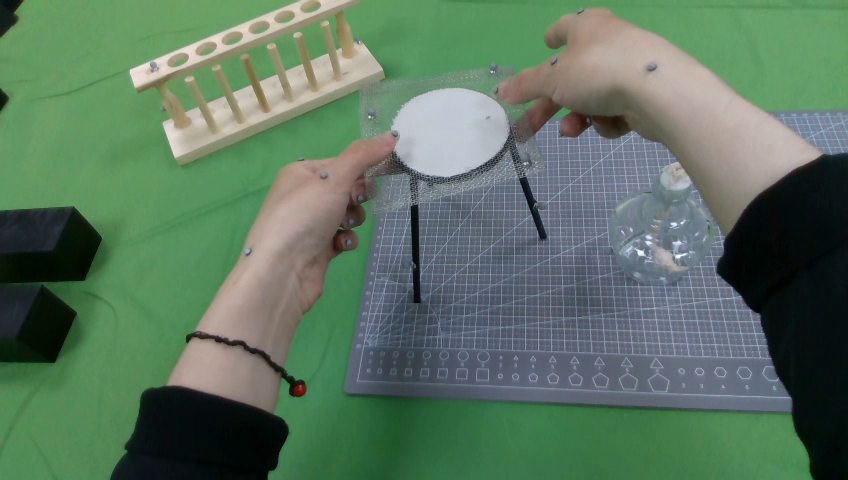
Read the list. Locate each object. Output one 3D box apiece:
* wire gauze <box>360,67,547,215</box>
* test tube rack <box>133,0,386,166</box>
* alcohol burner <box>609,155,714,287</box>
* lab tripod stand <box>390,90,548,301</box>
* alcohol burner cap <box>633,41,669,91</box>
[{"bbox_3d":[0.016,-0.078,0.432,0.121,0.011,0.124,-9,55,2],"label":"wire gauze"},{"bbox_3d":[-0.169,-0.177,0.650,0.242,0.086,0.066,-26,55,-10],"label":"test tube rack"},{"bbox_3d":[0.182,-0.017,0.459,0.078,0.120,0.077,-5,52,6],"label":"alcohol burner"},{"bbox_3d":[0.027,-0.037,0.485,0.148,0.133,0.147,-4,56,6],"label":"lab tripod stand"},{"bbox_3d":[0.233,-0.179,0.616,0.034,0.048,0.033,-5,54,7],"label":"alcohol burner cap"}]
